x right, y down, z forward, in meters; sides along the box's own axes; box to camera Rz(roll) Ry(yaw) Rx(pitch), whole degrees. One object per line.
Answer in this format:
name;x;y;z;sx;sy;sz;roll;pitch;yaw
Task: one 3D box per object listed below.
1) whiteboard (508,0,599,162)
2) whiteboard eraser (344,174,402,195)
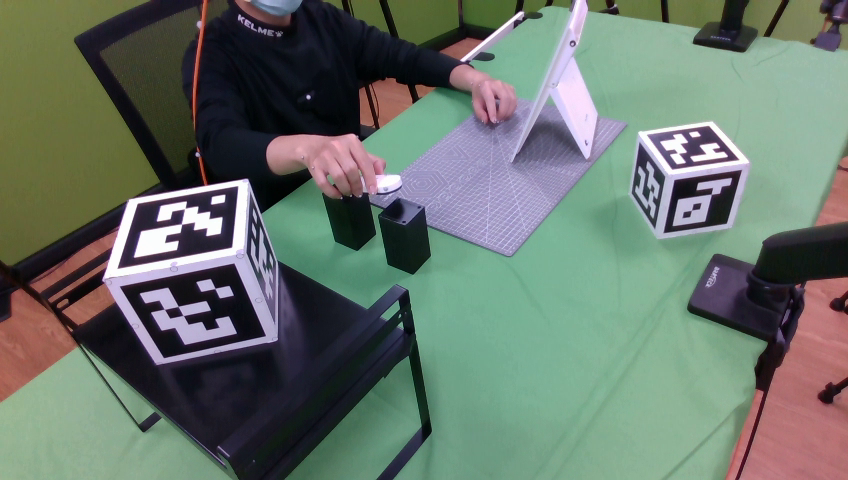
whiteboard;0.285;-0.289;1.090;0.144;0.305;0.217;22;45;3
whiteboard eraser;-0.077;-0.085;0.908;0.100;0.019;0.041;6;35;37
